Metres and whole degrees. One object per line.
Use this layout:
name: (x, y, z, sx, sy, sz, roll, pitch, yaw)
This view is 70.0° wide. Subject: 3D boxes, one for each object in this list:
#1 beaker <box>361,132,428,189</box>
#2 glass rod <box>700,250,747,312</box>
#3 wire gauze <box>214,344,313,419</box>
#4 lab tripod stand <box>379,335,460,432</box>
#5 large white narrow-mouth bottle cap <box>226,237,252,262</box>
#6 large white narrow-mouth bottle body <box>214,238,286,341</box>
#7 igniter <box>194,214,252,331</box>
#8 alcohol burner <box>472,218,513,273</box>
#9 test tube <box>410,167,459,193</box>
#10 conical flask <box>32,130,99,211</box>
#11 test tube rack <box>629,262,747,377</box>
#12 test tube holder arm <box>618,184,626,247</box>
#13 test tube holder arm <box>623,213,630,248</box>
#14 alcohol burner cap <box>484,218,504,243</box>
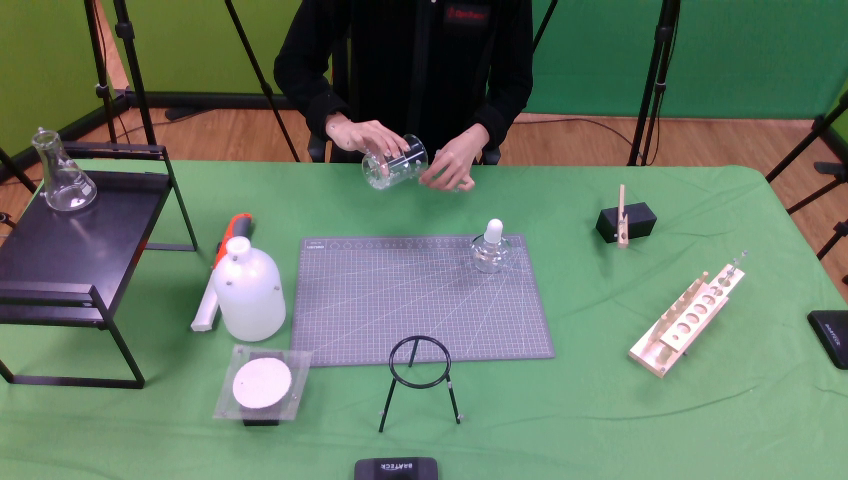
beaker: (-0.054, -0.137, 1.076, 0.100, 0.084, 0.073, -29, 54, -30)
glass rod: (0.500, 0.075, 1.021, 0.008, 0.201, 0.008, 0, 54, 1)
wire gauze: (-0.241, 0.213, 0.915, 0.121, 0.011, 0.124, 5, 46, 1)
lab tripod stand: (-0.011, 0.214, 0.911, 0.148, 0.132, 0.147, 1, 45, 0)
large white narrow-mouth bottle cap: (-0.282, 0.014, 0.923, 0.038, 0.024, 0.037, 2, 46, -2)
large white narrow-mouth bottle body: (-0.285, 0.073, 0.986, 0.102, 0.195, 0.101, 2, 46, -2)
igniter: (-0.367, 0.050, 1.119, 0.057, 0.025, 0.275, -4, 46, 7)
alcohol burner: (0.129, 0.005, 1.132, 0.078, 0.120, 0.077, 0, 47, 0)
test tube: (0.024, -0.116, 1.183, 0.151, 0.017, 0.017, 17, 26, -51)
conical flask: (-0.565, -0.110, 0.944, 0.075, 0.122, 0.075, 2, 46, -2)
test tube rack: (0.464, 0.126, 1.060, 0.242, 0.085, 0.066, -34, 56, -31)
test tube holder arm: (0.395, -0.053, 1.210, 0.013, 0.015, 0.177, 15, 46, 0)
test tube holder arm: (0.392, -0.020, 1.179, 0.010, 0.015, 0.087, 14, 46, 0)
alcohol burner cap: (0.130, -0.021, 1.106, 0.034, 0.048, 0.033, 3, 51, -4)
